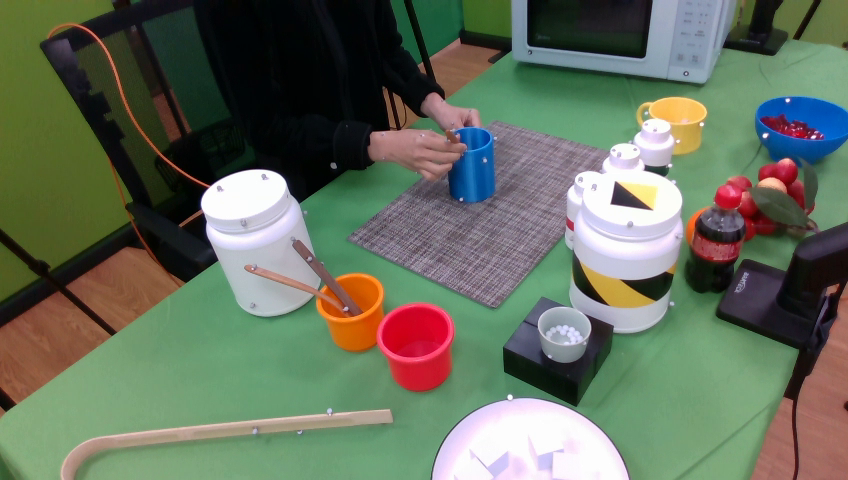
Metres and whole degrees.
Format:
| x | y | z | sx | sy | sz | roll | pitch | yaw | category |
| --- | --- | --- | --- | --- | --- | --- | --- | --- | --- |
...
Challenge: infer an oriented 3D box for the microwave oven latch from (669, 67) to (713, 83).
| x | y | z | sx | sy | sz | roll | pitch | yaw | category |
| --- | --- | --- | --- | --- | --- | --- | --- | --- | --- |
| 0.556 | -0.348 | 1.262 | 0.078 | 0.029 | 0.030 | 16 | 46 | 26 | microwave oven latch |

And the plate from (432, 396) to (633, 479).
| x | y | z | sx | sy | sz | roll | pitch | yaw | category |
| --- | --- | --- | --- | --- | --- | --- | --- | --- | --- |
| 0.112 | 0.261 | 0.634 | 0.209 | 0.038 | 0.208 | -5 | 40 | 4 | plate |

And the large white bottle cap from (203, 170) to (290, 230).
| x | y | z | sx | sy | sz | roll | pitch | yaw | category |
| --- | --- | --- | --- | --- | --- | --- | --- | --- | --- |
| -0.241 | -0.057 | 0.822 | 0.115 | 0.018 | 0.114 | -4 | 40 | 4 | large white bottle cap |

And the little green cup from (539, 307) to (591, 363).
| x | y | z | sx | sy | sz | roll | pitch | yaw | category |
| --- | --- | --- | --- | --- | --- | --- | --- | --- | --- |
| 0.167 | 0.114 | 0.721 | 0.061 | 0.039 | 0.061 | -4 | 43 | 4 | little green cup |

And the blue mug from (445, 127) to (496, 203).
| x | y | z | sx | sy | sz | roll | pitch | yaw | category |
| --- | --- | --- | --- | --- | --- | --- | --- | --- | --- |
| 0.082 | -0.140 | 1.060 | 0.082 | 0.106 | 0.116 | -3 | 40 | 5 | blue mug |

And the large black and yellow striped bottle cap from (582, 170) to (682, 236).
| x | y | z | sx | sy | sz | roll | pitch | yaw | category |
| --- | --- | --- | --- | --- | --- | --- | --- | --- | --- |
| 0.252 | -0.048 | 0.735 | 0.115 | 0.019 | 0.114 | -3 | 40 | 3 | large black and yellow striped bottle cap |

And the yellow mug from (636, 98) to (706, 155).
| x | y | z | sx | sy | sz | roll | pitch | yaw | category |
| --- | --- | --- | --- | --- | --- | --- | --- | --- | --- |
| 0.453 | -0.217 | 1.128 | 0.100 | 0.064 | 0.129 | -34 | 46 | -27 | yellow mug |

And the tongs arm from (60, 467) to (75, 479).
| x | y | z | sx | sy | sz | roll | pitch | yaw | category |
| --- | --- | --- | --- | --- | --- | --- | --- | --- | --- |
| -0.239 | 0.301 | 0.648 | 0.386 | 0.028 | 0.028 | 6 | 49 | 16 | tongs arm |

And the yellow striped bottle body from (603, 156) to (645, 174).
| x | y | z | sx | sy | sz | roll | pitch | yaw | category |
| --- | --- | --- | --- | --- | --- | --- | --- | --- | --- |
| 0.313 | -0.089 | 0.956 | 0.063 | 0.121 | 0.062 | -4 | 40 | 4 | yellow striped bottle body |

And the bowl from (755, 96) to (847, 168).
| x | y | z | sx | sy | sz | roll | pitch | yaw | category |
| --- | --- | --- | --- | --- | --- | --- | --- | --- | --- |
| 0.645 | -0.177 | 1.041 | 0.151 | 0.077 | 0.150 | -5 | 40 | 4 | bowl |

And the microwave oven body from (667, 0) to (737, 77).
| x | y | z | sx | sy | sz | roll | pitch | yaw | category |
| --- | --- | --- | --- | --- | --- | --- | --- | --- | --- |
| 0.462 | -0.552 | 1.369 | 0.439 | 0.261 | 0.326 | 15 | 45 | 26 | microwave oven body |

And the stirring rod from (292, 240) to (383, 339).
| x | y | z | sx | sy | sz | roll | pitch | yaw | category |
| --- | --- | --- | --- | --- | --- | --- | --- | --- | --- |
| -0.118 | 0.068 | 0.826 | 0.176 | 0.006 | 0.014 | 49 | 59 | -4 | stirring rod |

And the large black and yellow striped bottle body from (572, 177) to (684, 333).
| x | y | z | sx | sy | sz | roll | pitch | yaw | category |
| --- | --- | --- | --- | --- | --- | --- | --- | --- | --- |
| 0.262 | 0.017 | 0.788 | 0.131 | 0.185 | 0.130 | -5 | 40 | 4 | large black and yellow striped bottle body |

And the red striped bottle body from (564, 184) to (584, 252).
| x | y | z | sx | sy | sz | roll | pitch | yaw | category |
| --- | --- | --- | --- | --- | --- | --- | --- | --- | --- |
| 0.247 | -0.041 | 0.910 | 0.063 | 0.120 | 0.062 | -3 | 39 | 3 | red striped bottle body |

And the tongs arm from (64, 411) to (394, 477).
| x | y | z | sx | sy | sz | roll | pitch | yaw | category |
| --- | --- | --- | --- | --- | --- | --- | --- | --- | --- |
| -0.228 | 0.241 | 0.715 | 0.385 | 0.026 | 0.050 | -5 | 43 | 4 | tongs arm |

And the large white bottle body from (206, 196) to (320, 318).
| x | y | z | sx | sy | sz | roll | pitch | yaw | category |
| --- | --- | --- | --- | --- | --- | --- | --- | --- | --- |
| -0.233 | 0.008 | 0.877 | 0.130 | 0.185 | 0.130 | -4 | 40 | 4 | large white bottle body |

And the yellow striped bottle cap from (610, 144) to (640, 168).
| x | y | z | sx | sy | sz | roll | pitch | yaw | category |
| --- | --- | --- | --- | --- | --- | --- | --- | --- | --- |
| 0.307 | -0.128 | 0.923 | 0.044 | 0.019 | 0.044 | -5 | 39 | 5 | yellow striped bottle cap |

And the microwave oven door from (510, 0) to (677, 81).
| x | y | z | sx | sy | sz | roll | pitch | yaw | category |
| --- | --- | --- | --- | --- | --- | --- | --- | --- | --- |
| 0.354 | -0.478 | 1.290 | 0.353 | 0.245 | 0.039 | 15 | 45 | 25 | microwave oven door |

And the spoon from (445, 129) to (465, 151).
| x | y | z | sx | sy | sz | roll | pitch | yaw | category |
| --- | --- | --- | --- | --- | --- | --- | --- | --- | --- |
| 0.062 | -0.146 | 1.001 | 0.041 | 0.195 | 0.021 | 2 | 76 | 18 | spoon |

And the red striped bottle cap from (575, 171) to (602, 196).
| x | y | z | sx | sy | sz | roll | pitch | yaw | category |
| --- | --- | --- | --- | --- | --- | --- | --- | --- | --- |
| 0.242 | -0.081 | 0.876 | 0.044 | 0.018 | 0.044 | -5 | 43 | 5 | red striped bottle cap |

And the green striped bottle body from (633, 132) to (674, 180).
| x | y | z | sx | sy | sz | roll | pitch | yaw | category |
| --- | --- | --- | --- | --- | --- | --- | --- | --- | --- |
| 0.376 | -0.135 | 1.001 | 0.063 | 0.120 | 0.063 | -5 | 40 | 5 | green striped bottle body |

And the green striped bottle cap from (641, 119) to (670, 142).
| x | y | z | sx | sy | sz | roll | pitch | yaw | category |
| --- | --- | --- | --- | --- | --- | --- | --- | --- | --- |
| 0.371 | -0.175 | 0.968 | 0.044 | 0.020 | 0.044 | -5 | 41 | 5 | green striped bottle cap |

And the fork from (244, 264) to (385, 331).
| x | y | z | sx | sy | sz | roll | pitch | yaw | category |
| --- | --- | --- | --- | --- | --- | --- | --- | --- | --- |
| -0.142 | 0.078 | 0.806 | 0.209 | 0.018 | 0.028 | 30 | 33 | -23 | fork |
